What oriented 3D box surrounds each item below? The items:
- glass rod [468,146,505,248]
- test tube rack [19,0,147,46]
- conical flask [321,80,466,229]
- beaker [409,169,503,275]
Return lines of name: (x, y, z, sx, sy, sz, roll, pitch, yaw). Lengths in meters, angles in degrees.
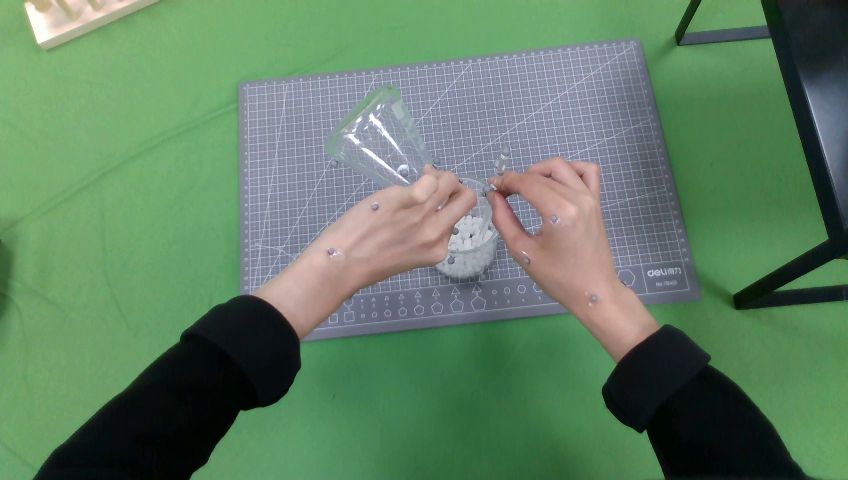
glass rod: (0.050, -0.029, 0.512, 0.008, 0.201, 0.008, 1, 70, -2)
test tube rack: (-0.358, -0.320, 0.690, 0.242, 0.086, 0.066, -26, 73, -5)
conical flask: (-0.018, -0.063, 0.495, 0.123, 0.075, 0.075, 46, 78, -18)
beaker: (0.030, -0.012, 0.567, 0.084, 0.101, 0.073, 17, 74, 9)
